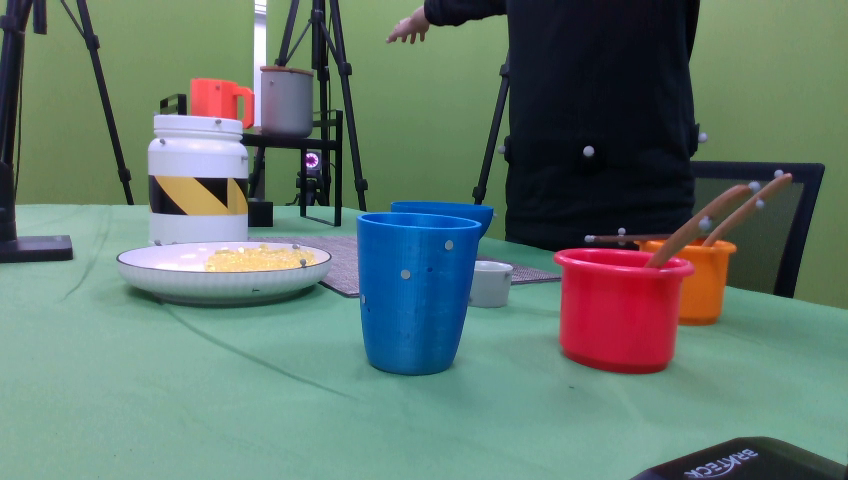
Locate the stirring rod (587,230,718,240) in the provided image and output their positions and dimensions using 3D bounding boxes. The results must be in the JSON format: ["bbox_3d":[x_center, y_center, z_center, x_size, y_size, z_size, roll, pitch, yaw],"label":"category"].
[{"bbox_3d":[0.226,-0.006,0.588,0.177,0.006,0.014,-2,10,-30],"label":"stirring rod"}]

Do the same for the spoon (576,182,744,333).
[{"bbox_3d":[0.152,0.020,0.410,0.042,0.021,0.193,-1,-36,-13],"label":"spoon"}]

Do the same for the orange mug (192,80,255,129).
[{"bbox_3d":[-0.389,-0.257,1.173,0.126,0.100,0.083,-1,7,9],"label":"orange mug"}]

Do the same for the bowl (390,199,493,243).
[{"bbox_3d":[0.023,-0.016,0.874,0.151,0.077,0.151,2,7,0],"label":"bowl"}]

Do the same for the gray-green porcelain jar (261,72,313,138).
[{"bbox_3d":[-0.284,-0.276,1.253,0.106,0.126,0.106,2,8,0],"label":"gray-green porcelain jar"}]

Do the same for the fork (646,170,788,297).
[{"bbox_3d":[0.256,0.004,0.543,0.028,0.018,0.207,3,-36,-9],"label":"fork"}]

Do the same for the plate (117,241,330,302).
[{"bbox_3d":[-0.203,0.031,0.630,0.209,0.038,0.209,3,7,0],"label":"plate"}]

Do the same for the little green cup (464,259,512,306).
[{"bbox_3d":[0.057,0.043,0.612,0.061,0.038,0.061,3,7,0],"label":"little green cup"}]

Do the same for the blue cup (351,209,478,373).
[{"bbox_3d":[-0.009,0.034,0.414,0.093,0.100,0.092,3,9,0],"label":"blue cup"}]

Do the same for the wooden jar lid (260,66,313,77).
[{"bbox_3d":[-0.283,-0.339,1.245,0.108,0.020,0.108,5,9,-1],"label":"wooden jar lid"}]

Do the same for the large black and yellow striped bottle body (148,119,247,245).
[{"bbox_3d":[-0.318,-0.076,0.855,0.131,0.184,0.130,2,7,0],"label":"large black and yellow striped bottle body"}]

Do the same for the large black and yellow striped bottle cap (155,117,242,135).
[{"bbox_3d":[-0.313,-0.159,0.845,0.115,0.019,0.115,3,9,0],"label":"large black and yellow striped bottle cap"}]
